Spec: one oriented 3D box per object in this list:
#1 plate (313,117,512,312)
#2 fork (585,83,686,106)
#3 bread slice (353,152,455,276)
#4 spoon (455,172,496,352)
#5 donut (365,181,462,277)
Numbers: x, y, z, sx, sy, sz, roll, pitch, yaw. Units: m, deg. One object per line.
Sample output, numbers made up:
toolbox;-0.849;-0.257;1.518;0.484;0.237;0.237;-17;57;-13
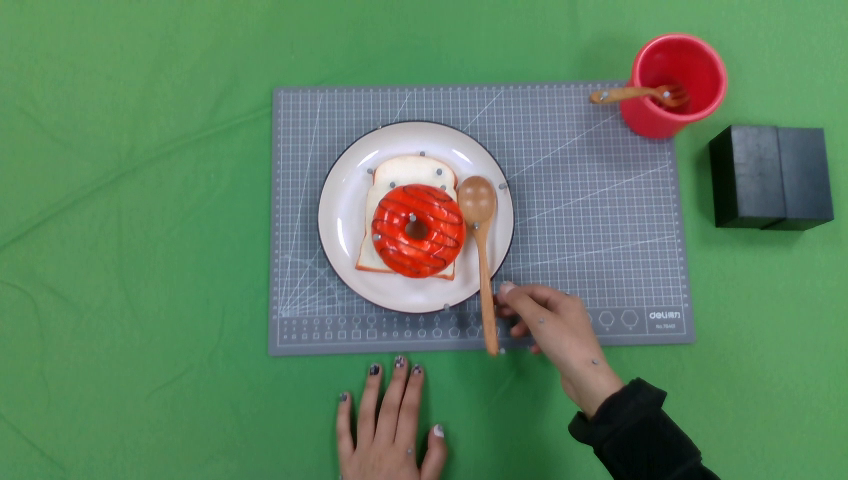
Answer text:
plate;-0.012;-0.026;0.644;0.209;0.038;0.208;0;79;-1
fork;0.219;-0.149;0.617;0.208;0.018;0.028;-14;76;-47
bread slice;-0.018;-0.031;0.648;0.105;0.019;0.131;5;81;-2
spoon;0.057;0.019;0.623;0.041;0.022;0.192;-4;67;2
donut;-0.011;-0.012;0.614;0.099;0.048;0.099;1;83;-4
